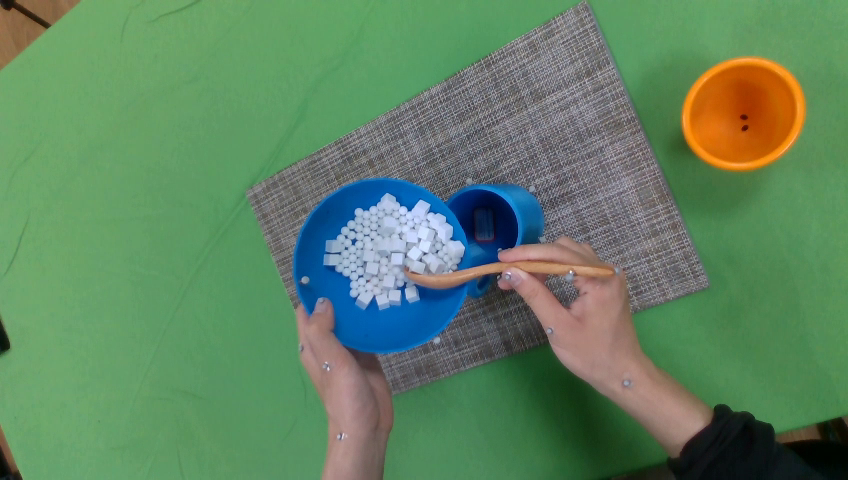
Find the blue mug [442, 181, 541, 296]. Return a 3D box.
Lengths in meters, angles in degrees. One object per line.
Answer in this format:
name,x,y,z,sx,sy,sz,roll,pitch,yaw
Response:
blue mug,0.061,-0.001,0.597,0.082,0.106,0.117,17,102,18

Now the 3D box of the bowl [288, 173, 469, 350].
bowl,-0.041,0.024,0.540,0.152,0.077,0.151,1,80,-7

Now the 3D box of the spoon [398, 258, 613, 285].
spoon,0.055,0.023,0.480,0.193,0.042,0.021,-7,76,40
